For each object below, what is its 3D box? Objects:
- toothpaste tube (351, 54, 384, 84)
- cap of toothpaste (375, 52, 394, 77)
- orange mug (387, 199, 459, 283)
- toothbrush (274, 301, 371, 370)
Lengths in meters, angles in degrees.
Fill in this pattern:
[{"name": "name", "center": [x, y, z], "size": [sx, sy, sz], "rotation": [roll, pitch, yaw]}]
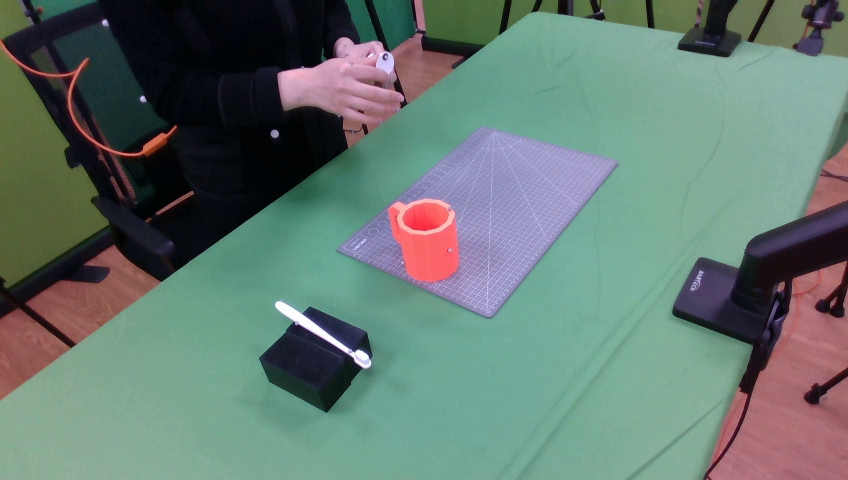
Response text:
[{"name": "toothpaste tube", "center": [-0.081, -0.267, 0.967], "size": [0.055, 0.034, 0.164], "rotation": [7, 4, -13]}, {"name": "cap of toothpaste", "center": [-0.059, -0.257, 0.883], "size": [0.011, 0.037, 0.037], "rotation": [29, 52, 32]}, {"name": "orange mug", "center": [-0.006, -0.007, 0.923], "size": [0.125, 0.101, 0.084], "rotation": [32, 54, 32]}, {"name": "toothbrush", "center": [-0.135, 0.120, 0.783], "size": [0.180, 0.017, 0.014], "rotation": [25, 53, 33]}]
